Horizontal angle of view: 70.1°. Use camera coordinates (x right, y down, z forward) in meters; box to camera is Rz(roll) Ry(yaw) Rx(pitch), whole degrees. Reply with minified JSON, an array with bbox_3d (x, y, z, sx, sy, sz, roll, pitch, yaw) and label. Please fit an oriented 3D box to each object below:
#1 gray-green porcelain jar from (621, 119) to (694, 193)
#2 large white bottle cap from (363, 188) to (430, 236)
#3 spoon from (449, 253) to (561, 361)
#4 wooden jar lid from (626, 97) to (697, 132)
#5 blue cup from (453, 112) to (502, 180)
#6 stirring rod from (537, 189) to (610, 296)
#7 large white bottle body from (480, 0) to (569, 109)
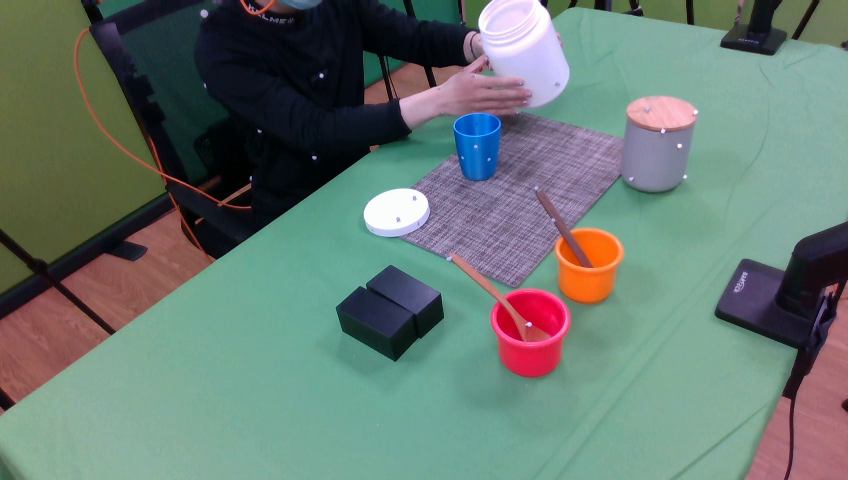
[{"bbox_3d":[0.389,-0.152,1.016,0.106,0.127,0.105,-4,40,4],"label":"gray-green porcelain jar"},{"bbox_3d":[-0.048,-0.050,1.040,0.115,0.018,0.114,-7,40,6],"label":"large white bottle cap"},{"bbox_3d":[0.103,0.083,0.770,0.194,0.021,0.042,47,52,-7],"label":"spoon"},{"bbox_3d":[0.381,-0.198,0.976,0.108,0.021,0.108,-2,40,3],"label":"wooden jar lid"},{"bbox_3d":[0.097,-0.165,1.088,0.092,0.100,0.092,-3,40,3],"label":"blue cup"},{"bbox_3d":[0.211,0.003,0.855,0.014,0.006,0.176,-32,89,-30],"label":"stirring rod"},{"bbox_3d":[0.187,-0.352,1.128,0.130,0.186,0.130,-15,51,21],"label":"large white bottle body"}]
